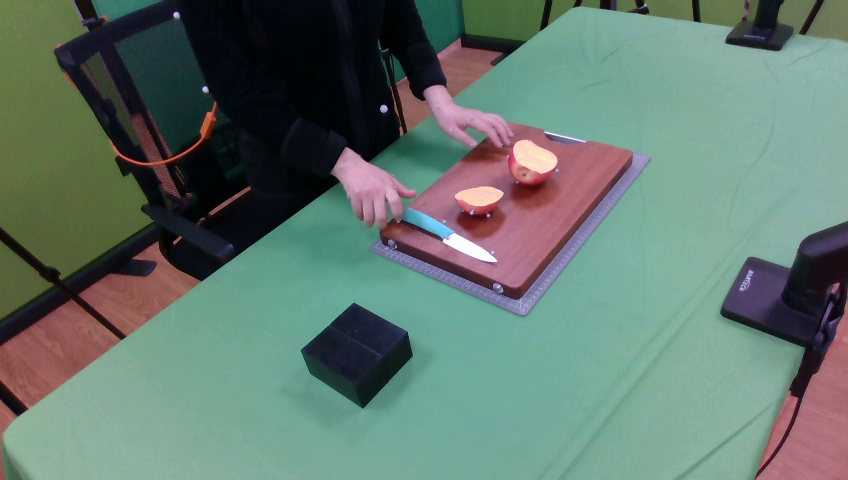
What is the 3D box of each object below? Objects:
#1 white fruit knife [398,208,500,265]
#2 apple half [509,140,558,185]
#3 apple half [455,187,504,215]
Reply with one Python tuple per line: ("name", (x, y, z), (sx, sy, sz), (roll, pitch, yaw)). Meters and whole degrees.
("white fruit knife", (0.038, -0.007, 0.950), (0.205, 0.016, 0.027), (29, 82, 35))
("apple half", (0.180, -0.124, 1.028), (0.081, 0.053, 0.074), (25, 44, 3))
("apple half", (0.094, -0.060, 0.988), (0.081, 0.033, 0.081), (-4, 25, 2))
